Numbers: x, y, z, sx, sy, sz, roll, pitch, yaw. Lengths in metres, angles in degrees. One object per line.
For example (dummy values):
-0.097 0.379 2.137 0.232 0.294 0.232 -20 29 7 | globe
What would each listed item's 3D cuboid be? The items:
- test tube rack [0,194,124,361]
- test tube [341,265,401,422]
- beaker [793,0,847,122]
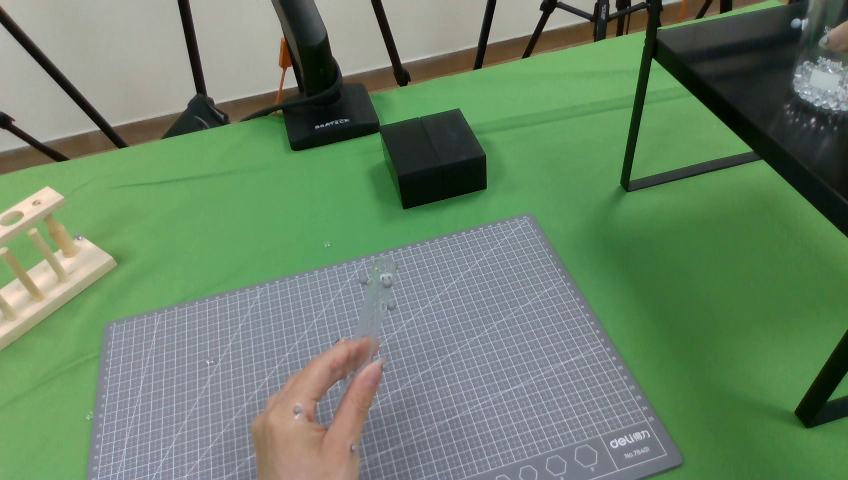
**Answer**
-0.430 0.064 0.585 0.066 0.086 0.242 25 53 29 | test tube rack
-0.039 0.077 0.419 0.017 0.151 0.017 11 36 -8 | test tube
0.307 -0.142 0.427 0.083 0.101 0.074 23 54 35 | beaker
